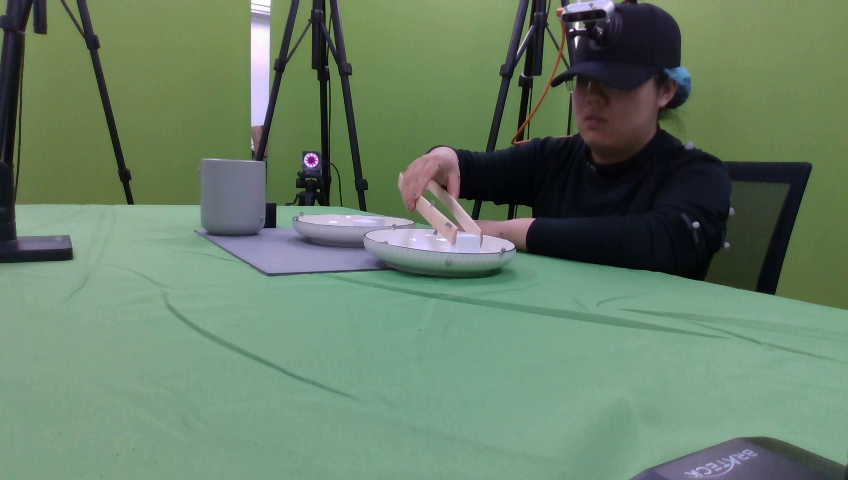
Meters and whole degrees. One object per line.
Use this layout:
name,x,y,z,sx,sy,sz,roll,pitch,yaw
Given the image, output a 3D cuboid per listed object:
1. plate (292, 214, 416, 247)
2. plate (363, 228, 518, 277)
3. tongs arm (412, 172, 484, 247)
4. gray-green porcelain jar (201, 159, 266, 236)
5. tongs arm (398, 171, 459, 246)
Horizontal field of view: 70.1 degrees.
plate,-0.118,-0.017,1.024,0.208,0.039,0.207,3,7,0
plate,0.021,0.016,0.817,0.209,0.038,0.209,4,9,0
tongs arm,0.032,-0.058,0.957,0.028,0.028,0.386,-1,17,-12
gray-green porcelain jar,-0.326,-0.073,1.036,0.106,0.126,0.106,3,8,0
tongs arm,0.008,-0.060,0.951,0.051,0.026,0.383,1,17,-18
